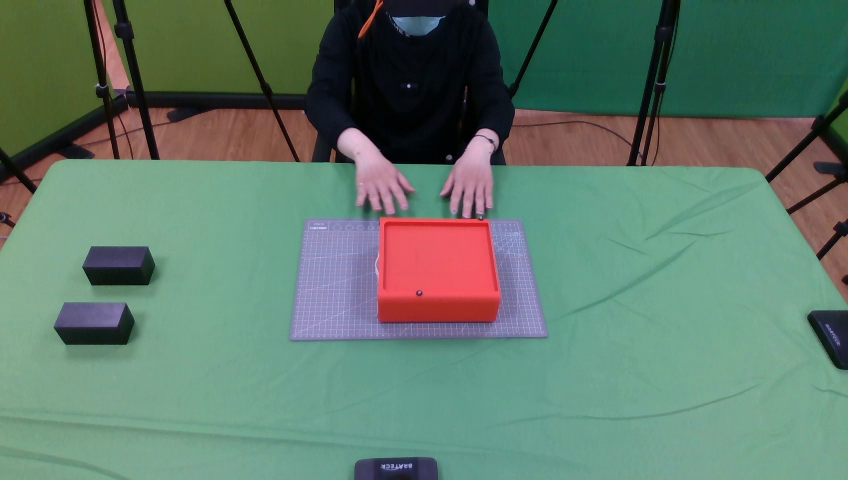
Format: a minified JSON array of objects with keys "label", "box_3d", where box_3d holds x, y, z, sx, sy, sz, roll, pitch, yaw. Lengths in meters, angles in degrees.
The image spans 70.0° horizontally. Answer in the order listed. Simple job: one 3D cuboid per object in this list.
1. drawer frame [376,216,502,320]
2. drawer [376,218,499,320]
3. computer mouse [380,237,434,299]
[{"label":"drawer frame","box_3d":[0.021,0.049,1.102,0.214,0.083,0.200,1,46,-4]},{"label":"drawer","box_3d":[0.019,0.050,1.102,0.212,0.073,0.193,1,46,-3]},{"label":"computer mouse","box_3d":[-0.029,0.048,1.104,0.063,0.041,0.117,28,63,2]}]
